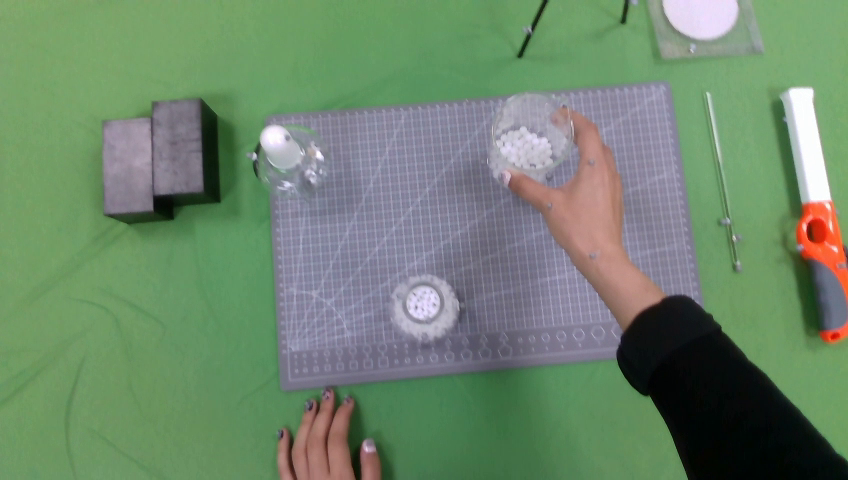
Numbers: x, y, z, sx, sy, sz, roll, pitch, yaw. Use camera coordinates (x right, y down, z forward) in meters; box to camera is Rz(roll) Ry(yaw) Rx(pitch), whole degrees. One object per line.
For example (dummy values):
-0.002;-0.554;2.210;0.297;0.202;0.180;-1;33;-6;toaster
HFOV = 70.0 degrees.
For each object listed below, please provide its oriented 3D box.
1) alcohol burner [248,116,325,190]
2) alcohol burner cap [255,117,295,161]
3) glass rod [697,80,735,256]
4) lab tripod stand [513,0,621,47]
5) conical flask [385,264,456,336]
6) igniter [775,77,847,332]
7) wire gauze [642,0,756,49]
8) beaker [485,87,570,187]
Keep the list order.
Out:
-0.141;-0.091;0.603;0.078;0.119;0.077;0;83;2;alcohol burner
-0.142;-0.098;0.568;0.034;0.048;0.033;1;74;-2;alcohol burner cap
0.320;-0.081;0.663;0.008;0.008;0.199;-7;83;-2;glass rod
0.148;-0.280;0.624;0.148;0.131;0.148;0;84;-1;lab tripod stand
-0.004;0.055;0.582;0.075;0.122;0.075;0;82;0;conical flask
0.416;-0.041;0.650;0.057;0.025;0.275;-4;83;-12;igniter
0.308;-0.277;0.689;0.125;0.011;0.121;-7;83;-3;wire gauze
0.098;-0.096;0.587;0.084;0.100;0.074;-44;84;-4;beaker
